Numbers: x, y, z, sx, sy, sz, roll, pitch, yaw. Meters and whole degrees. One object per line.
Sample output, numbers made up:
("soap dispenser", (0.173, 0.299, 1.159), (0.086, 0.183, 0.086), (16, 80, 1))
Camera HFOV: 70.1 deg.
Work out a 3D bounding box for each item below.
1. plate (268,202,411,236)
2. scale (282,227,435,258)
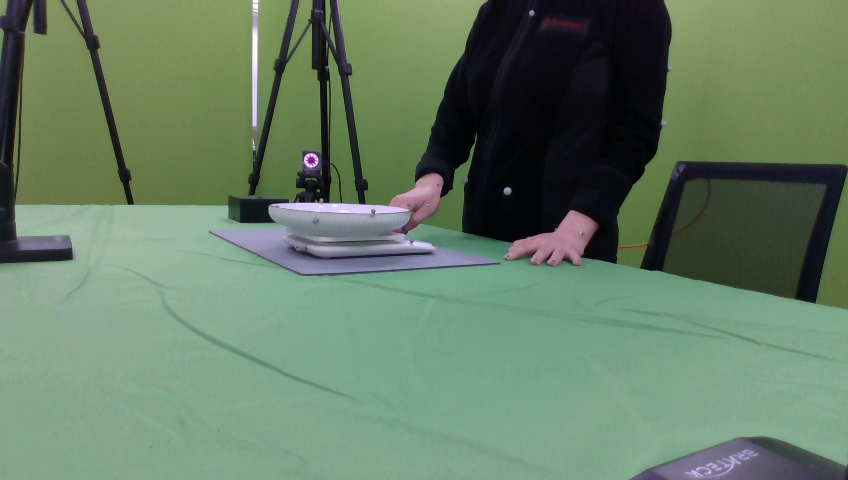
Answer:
("plate", (-0.123, -0.032, 0.894), (0.209, 0.038, 0.209), (2, 7, 0))
("scale", (-0.098, 0.000, 0.914), (0.202, 0.031, 0.148), (-2, 9, -33))
